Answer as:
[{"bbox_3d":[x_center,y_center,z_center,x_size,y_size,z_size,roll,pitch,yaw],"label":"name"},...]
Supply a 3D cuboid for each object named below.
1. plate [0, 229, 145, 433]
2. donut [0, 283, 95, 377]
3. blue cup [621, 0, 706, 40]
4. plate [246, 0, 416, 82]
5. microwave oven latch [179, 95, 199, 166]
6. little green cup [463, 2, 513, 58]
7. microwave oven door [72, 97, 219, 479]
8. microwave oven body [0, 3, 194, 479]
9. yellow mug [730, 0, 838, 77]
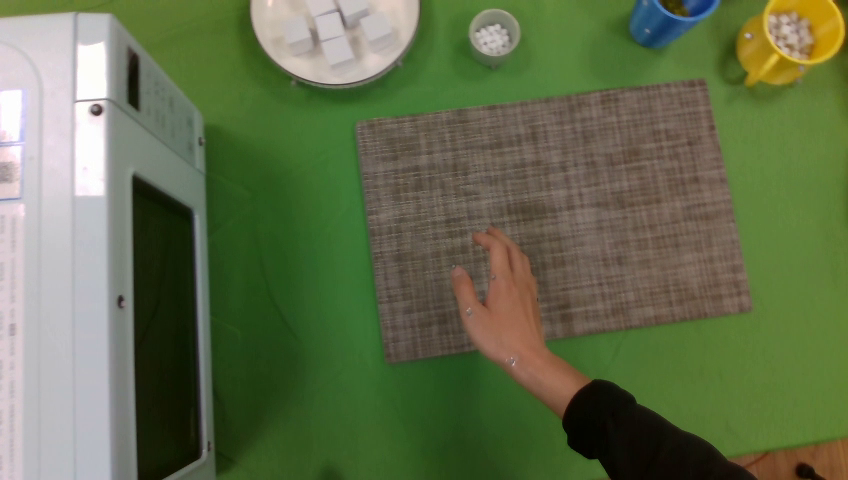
[{"bbox_3d":[-0.395,0.093,0.633,0.209,0.038,0.208,0,82,-2],"label":"plate"},{"bbox_3d":[-0.391,0.093,0.623,0.099,0.048,0.099,0,92,-5],"label":"donut"},{"bbox_3d":[0.286,-0.293,0.737,0.093,0.100,0.092,0,83,-3],"label":"blue cup"},{"bbox_3d":[-0.113,-0.293,0.755,0.208,0.039,0.207,0,82,-2],"label":"plate"},{"bbox_3d":[-0.281,-0.127,0.709,0.030,0.029,0.079,-3,83,-3],"label":"microwave oven latch"},{"bbox_3d":[0.078,-0.260,0.757,0.061,0.039,0.061,0,82,-1],"label":"little green cup"},{"bbox_3d":[-0.260,0.075,0.581,0.039,0.244,0.354,-5,82,-2],"label":"microwave oven door"},{"bbox_3d":[-0.409,0.047,0.586,0.326,0.260,0.440,-5,83,-3],"label":"microwave oven body"},{"bbox_3d":[0.437,-0.254,0.754,0.100,0.064,0.131,40,84,4],"label":"yellow mug"}]
